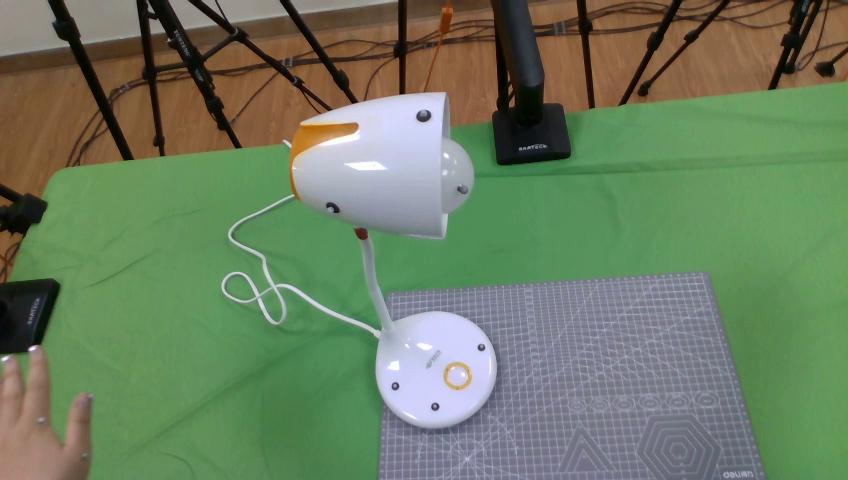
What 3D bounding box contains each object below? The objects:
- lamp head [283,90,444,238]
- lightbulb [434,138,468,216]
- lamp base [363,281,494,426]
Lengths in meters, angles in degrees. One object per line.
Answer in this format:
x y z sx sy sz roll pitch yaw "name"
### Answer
-0.043 -0.056 0.466 0.123 0.113 0.111 -2 58 10 "lamp head"
-0.020 -0.045 0.458 0.107 0.060 0.059 -3 57 9 "lightbulb"
-0.010 0.121 0.738 0.178 0.182 0.160 17 62 22 "lamp base"
